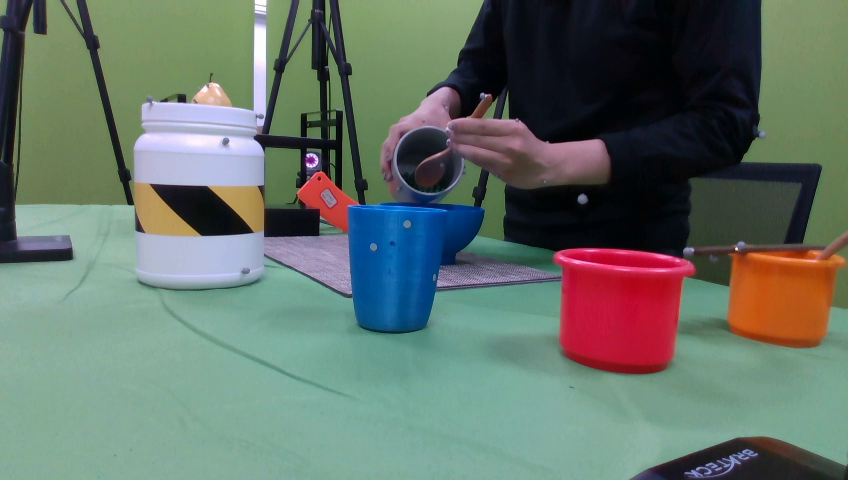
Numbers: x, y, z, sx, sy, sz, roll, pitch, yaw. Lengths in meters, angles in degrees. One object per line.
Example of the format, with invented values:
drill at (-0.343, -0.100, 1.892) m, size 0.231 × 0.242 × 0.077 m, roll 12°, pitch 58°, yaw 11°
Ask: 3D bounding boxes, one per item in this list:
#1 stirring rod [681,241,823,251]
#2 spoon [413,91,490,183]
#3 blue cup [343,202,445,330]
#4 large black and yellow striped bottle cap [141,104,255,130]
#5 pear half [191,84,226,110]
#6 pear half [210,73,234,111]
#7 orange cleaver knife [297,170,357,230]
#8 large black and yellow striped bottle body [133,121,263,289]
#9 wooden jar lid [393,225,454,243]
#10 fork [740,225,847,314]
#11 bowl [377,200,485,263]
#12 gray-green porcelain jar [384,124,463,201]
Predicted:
stirring rod at (0.289, 0.005, 0.525) m, size 0.177 × 0.006 × 0.014 m, roll -1°, pitch 5°, yaw -26°
spoon at (0.037, -0.131, 0.798) m, size 0.042 × 0.021 × 0.193 m, roll 14°, pitch -30°, yaw -22°
blue cup at (-0.027, 0.021, 0.510) m, size 0.093 × 0.100 × 0.092 m, roll 3°, pitch 5°, yaw 0°
large black and yellow striped bottle cap at (-0.241, -0.131, 0.650) m, size 0.115 × 0.019 × 0.115 m, roll 3°, pitch 8°, yaw 0°
pear half at (-0.406, -0.248, 1.128) m, size 0.070 × 0.088 × 0.031 m, roll 5°, pitch 6°, yaw 2°
pear half at (-0.402, -0.262, 1.162) m, size 0.076 × 0.109 × 0.056 m, roll 6°, pitch 7°, yaw 2°
orange cleaver knife at (-0.149, -0.058, 1.170) m, size 0.212 × 0.077 × 0.012 m, roll 33°, pitch -15°, yaw -32°
large black and yellow striped bottle body at (-0.243, -0.048, 0.659) m, size 0.131 × 0.184 × 0.130 m, roll 2°, pitch 7°, yaw 0°
wooden jar lid at (-0.001, -0.011, 1.058) m, size 0.108 × 0.020 × 0.108 m, roll 8°, pitch 5°, yaw 0°
fork at (0.323, 0.013, 0.485) m, size 0.028 × 0.018 × 0.207 m, roll 9°, pitch -38°, yaw -5°
bowl at (0.008, -0.012, 0.842) m, size 0.151 × 0.077 × 0.151 m, roll 2°, pitch 7°, yaw 0°
gray-green porcelain jar at (-0.005, -0.108, 0.933) m, size 0.106 × 0.105 × 0.126 m, roll 1°, pitch -8°, yaw -11°
